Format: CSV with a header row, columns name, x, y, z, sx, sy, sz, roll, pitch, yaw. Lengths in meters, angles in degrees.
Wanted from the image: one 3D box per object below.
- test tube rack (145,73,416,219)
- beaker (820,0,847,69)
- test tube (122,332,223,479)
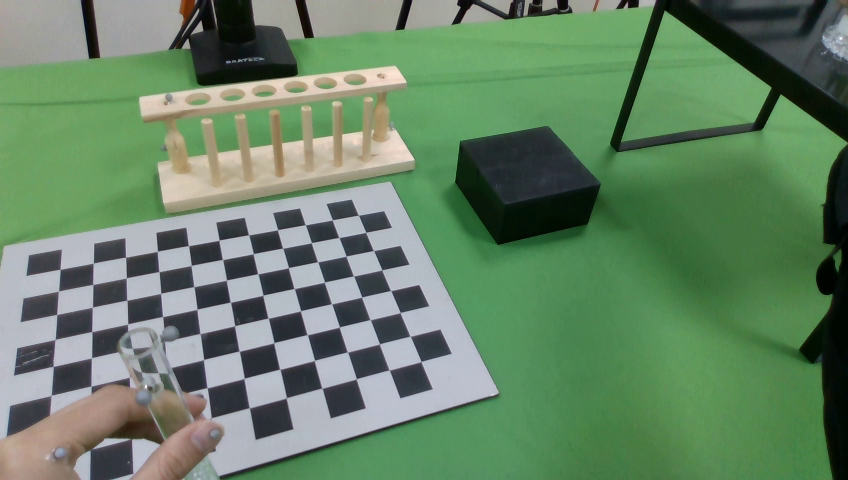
name,x,y,z,sx,sy,sz,roll,pitch,yaw
test tube rack,-0.130,-0.095,0.589,0.243,0.086,0.066,-12,46,-18
beaker,0.357,-0.184,0.458,0.074,0.101,0.083,-26,50,-30
test tube,-0.112,0.098,0.288,0.017,0.151,0.017,0,41,0
